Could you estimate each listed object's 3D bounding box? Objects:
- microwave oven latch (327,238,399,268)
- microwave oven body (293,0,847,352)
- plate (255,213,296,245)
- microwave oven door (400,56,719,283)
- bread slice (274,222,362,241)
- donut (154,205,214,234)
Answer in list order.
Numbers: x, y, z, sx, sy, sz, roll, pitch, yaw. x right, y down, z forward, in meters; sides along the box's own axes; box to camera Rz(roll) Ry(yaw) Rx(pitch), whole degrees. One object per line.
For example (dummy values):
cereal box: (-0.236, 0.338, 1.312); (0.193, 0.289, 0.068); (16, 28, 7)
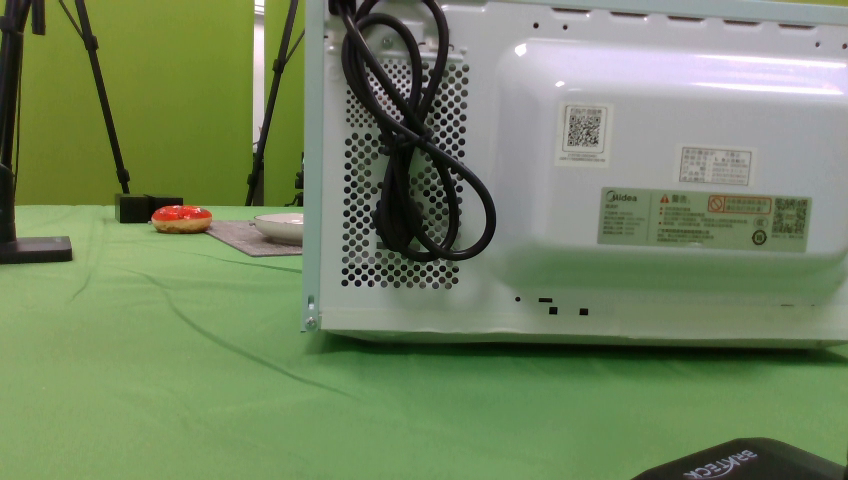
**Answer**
microwave oven latch: (-0.069, 0.015, 0.694); (0.079, 0.029, 0.030); (3, 7, -3)
microwave oven body: (0.122, -0.055, 0.550); (0.442, 0.260, 0.325); (3, 7, -5)
plate: (-0.177, -0.018, 1.017); (0.208, 0.039, 0.207); (2, 7, 0)
microwave oven door: (0.155, -0.077, 0.697); (0.356, 0.243, 0.039); (2, 8, -5)
bread slice: (-0.181, -0.016, 1.011); (0.104, 0.019, 0.132); (5, 8, 27)
donut: (-0.426, -0.037, 1.075); (0.099, 0.048, 0.099); (2, 12, 0)
